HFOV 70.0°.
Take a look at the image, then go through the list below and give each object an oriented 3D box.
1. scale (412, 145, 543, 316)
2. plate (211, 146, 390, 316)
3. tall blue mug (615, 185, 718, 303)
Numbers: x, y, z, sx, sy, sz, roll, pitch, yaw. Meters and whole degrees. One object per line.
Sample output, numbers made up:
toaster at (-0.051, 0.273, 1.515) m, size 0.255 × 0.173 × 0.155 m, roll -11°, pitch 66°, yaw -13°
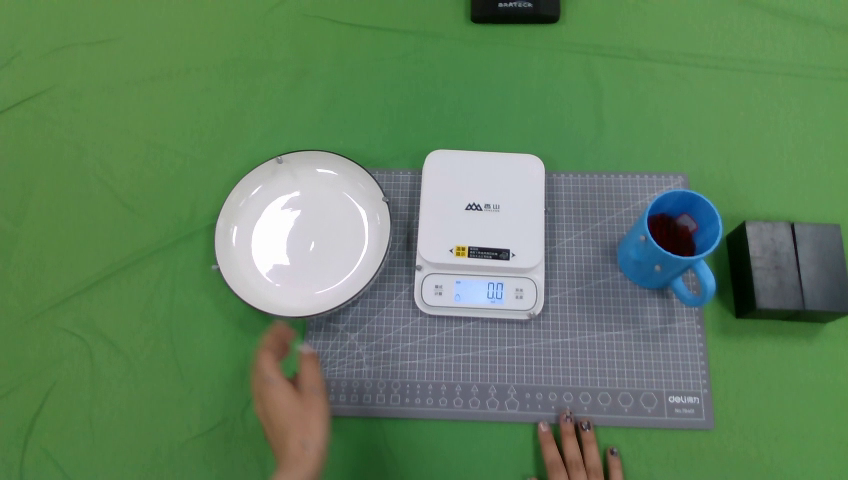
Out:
scale at (0.064, -0.014, 0.710) m, size 0.148 × 0.032 × 0.199 m, roll 3°, pitch 72°, yaw 3°
plate at (-0.141, -0.010, 0.713) m, size 0.209 × 0.038 × 0.207 m, roll -1°, pitch 71°, yaw 4°
tall blue mug at (0.271, 0.007, 0.654) m, size 0.106 × 0.108 × 0.077 m, roll 37°, pitch 76°, yaw 13°
